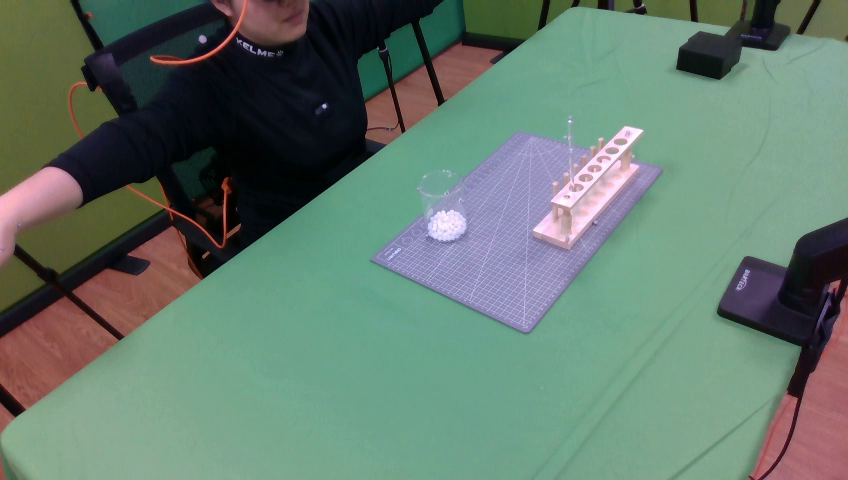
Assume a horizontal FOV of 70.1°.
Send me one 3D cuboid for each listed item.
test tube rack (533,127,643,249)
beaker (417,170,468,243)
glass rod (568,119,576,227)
[{"bbox_3d":[0.271,-0.094,0.989,0.066,0.085,0.243,23,50,33],"label":"test tube rack"},{"bbox_3d":[0.034,-0.054,0.976,0.073,0.101,0.084,9,42,20],"label":"beaker"},{"bbox_3d":[0.218,-0.093,0.893,0.008,0.201,0.008,-8,42,8],"label":"glass rod"}]
